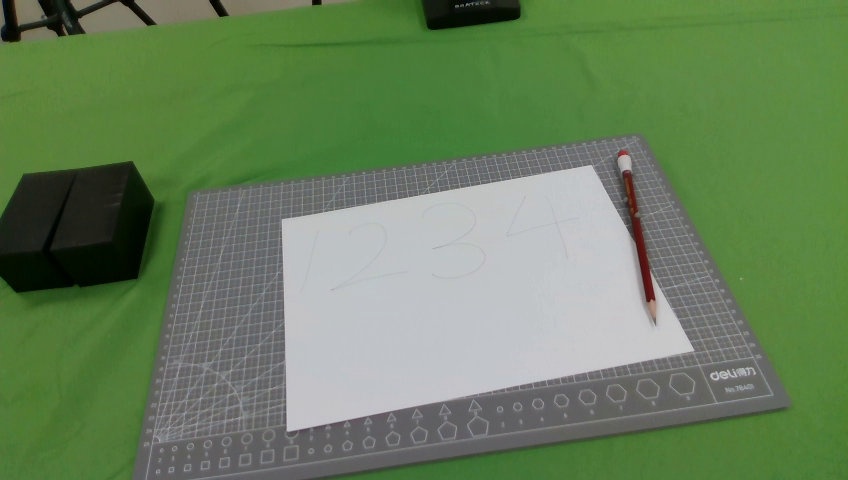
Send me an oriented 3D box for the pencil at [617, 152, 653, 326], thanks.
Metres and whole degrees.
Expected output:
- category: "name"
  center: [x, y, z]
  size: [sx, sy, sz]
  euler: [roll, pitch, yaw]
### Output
- category: "pencil"
  center: [0.181, -0.008, 0.519]
  size: [0.012, 0.012, 0.192]
  euler: [2, 50, 6]
